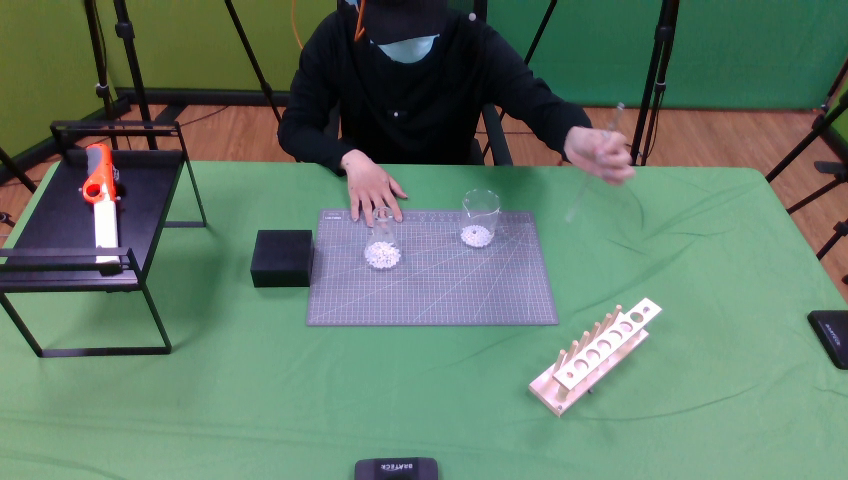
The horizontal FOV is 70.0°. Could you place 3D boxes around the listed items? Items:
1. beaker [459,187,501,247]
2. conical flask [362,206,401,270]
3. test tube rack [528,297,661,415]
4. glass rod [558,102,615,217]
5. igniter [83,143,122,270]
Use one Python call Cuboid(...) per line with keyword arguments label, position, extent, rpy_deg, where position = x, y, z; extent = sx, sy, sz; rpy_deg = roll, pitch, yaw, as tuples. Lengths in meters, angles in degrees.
Cuboid(label="beaker", position=(0.106, -0.039, 1.187), extent=(0.074, 0.101, 0.084), rpy_deg=(22, 50, 17))
Cuboid(label="conical flask", position=(-0.078, -0.008, 1.126), extent=(0.075, 0.122, 0.075), rpy_deg=(2, 46, -2))
Cuboid(label="test tube rack", position=(0.285, 0.178, 1.005), extent=(0.242, 0.085, 0.066), rpy_deg=(-31, 55, -29))
Cuboid(label="glass rod", position=(0.255, -0.126, 0.953), extent=(0.008, 0.008, 0.199), rpy_deg=(26, 90, 19))
Cuboid(label="igniter", position=(-0.508, -0.063, 0.962), extent=(0.057, 0.025, 0.274), rpy_deg=(-14, 53, -18))
